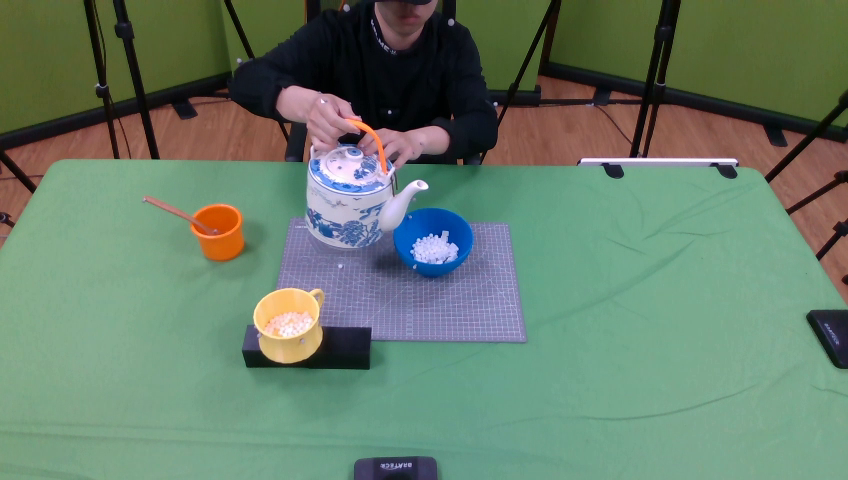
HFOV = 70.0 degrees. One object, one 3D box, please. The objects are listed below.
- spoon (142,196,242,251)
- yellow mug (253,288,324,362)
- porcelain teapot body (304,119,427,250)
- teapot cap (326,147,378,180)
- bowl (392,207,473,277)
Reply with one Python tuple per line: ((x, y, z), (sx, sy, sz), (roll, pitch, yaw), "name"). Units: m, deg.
((-0.421, -0.032, 1.108), (0.021, 0.195, 0.041), (-32, 40, 28), "spoon")
((-0.205, 0.124, 0.963), (0.099, 0.064, 0.130), (27, 48, 21), "yellow mug")
((-0.098, -0.091, 1.016), (0.205, 0.226, 0.144), (18, 42, 5), "porcelain teapot body")
((-0.117, -0.129, 0.992), (0.085, 0.044, 0.084), (9, 43, -8), "teapot cap")
((0.014, 0.016, 1.140), (0.151, 0.077, 0.150), (2, 47, -2), "bowl")
